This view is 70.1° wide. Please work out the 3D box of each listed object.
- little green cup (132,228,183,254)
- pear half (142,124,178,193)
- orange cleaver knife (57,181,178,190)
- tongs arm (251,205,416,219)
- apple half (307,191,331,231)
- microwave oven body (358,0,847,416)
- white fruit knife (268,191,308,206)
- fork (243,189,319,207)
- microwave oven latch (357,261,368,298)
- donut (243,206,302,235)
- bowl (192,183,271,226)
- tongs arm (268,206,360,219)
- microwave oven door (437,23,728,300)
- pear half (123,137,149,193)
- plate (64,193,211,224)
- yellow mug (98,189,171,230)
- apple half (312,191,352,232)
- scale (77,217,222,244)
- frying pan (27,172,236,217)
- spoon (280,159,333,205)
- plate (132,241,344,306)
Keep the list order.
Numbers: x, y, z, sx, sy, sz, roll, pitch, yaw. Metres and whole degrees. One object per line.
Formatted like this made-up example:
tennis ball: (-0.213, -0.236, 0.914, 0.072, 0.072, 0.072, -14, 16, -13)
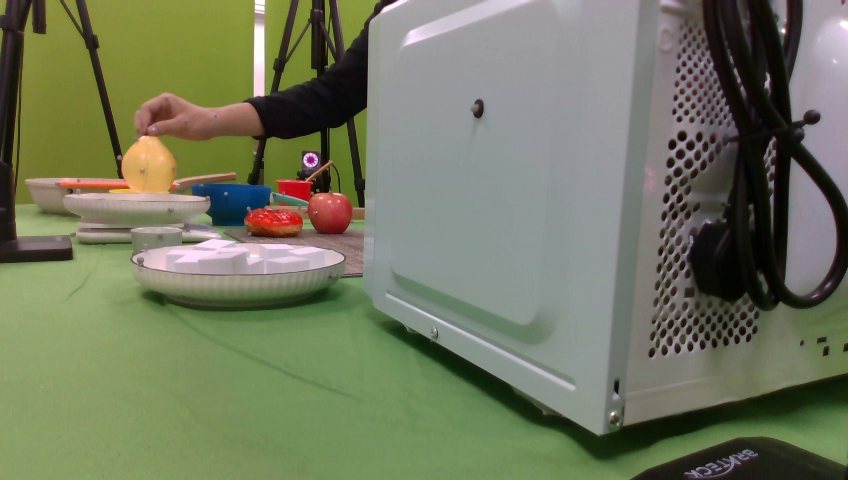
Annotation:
little green cup: (-0.342, 0.006, 0.779, 0.061, 0.038, 0.061, 2, 8, 0)
pear half: (-0.423, -0.129, 0.965, 0.056, 0.109, 0.076, -2, 13, -44)
orange cleaver knife: (-0.600, -0.109, 1.189, 0.212, 0.012, 0.077, -1, 11, -26)
tongs arm: (-0.211, -0.067, 1.440, 0.389, 0.027, 0.028, 0, -1, -17)
apple half: (-0.197, -0.055, 1.114, 0.032, 0.081, 0.081, 10, 10, 21)
microwave oven body: (0.211, -0.047, 0.474, 0.444, 0.260, 0.324, -1, 7, -28)
white fruit knife: (-0.364, -0.105, 1.464, 0.208, 0.027, 0.016, 15, 0, -34)
fork: (-0.356, -0.105, 1.526, 0.208, 0.018, 0.028, 16, -4, -41)
microwave oven latch: (-0.019, 0.033, 0.530, 0.079, 0.029, 0.030, 0, 7, -26)
donut: (-0.261, -0.032, 1.043, 0.099, 0.048, 0.099, 4, 10, 0)
bowl: (-0.382, -0.070, 1.202, 0.151, 0.077, 0.151, 3, 7, 0)
tongs arm: (-0.174, -0.061, 1.363, 0.387, 0.026, 0.050, -1, 3, -31)
microwave oven door: (0.180, -0.073, 0.621, 0.358, 0.243, 0.039, -2, 9, -29)
pear half: (-0.451, -0.118, 0.943, 0.031, 0.088, 0.070, -3, 13, -45)
plate: (-0.446, -0.051, 0.951, 0.209, 0.038, 0.209, 2, 7, 0)
yellow mug: (-0.519, -0.055, 1.080, 0.099, 0.064, 0.131, 7, 9, 26)
apple half: (-0.160, -0.050, 1.101, 0.053, 0.074, 0.081, 9, 7, 22)
scale: (-0.434, -0.018, 0.963, 0.202, 0.031, 0.148, -1, 8, -27)
frying pan: (-0.624, -0.118, 1.387, 0.305, 0.102, 0.490, 8, 17, 32)
spoon: (-0.317, -0.159, 1.640, 0.194, 0.022, 0.041, -49, 32, -20)
plate: (-0.187, 0.033, 0.625, 0.208, 0.039, 0.207, 2, 7, 0)
